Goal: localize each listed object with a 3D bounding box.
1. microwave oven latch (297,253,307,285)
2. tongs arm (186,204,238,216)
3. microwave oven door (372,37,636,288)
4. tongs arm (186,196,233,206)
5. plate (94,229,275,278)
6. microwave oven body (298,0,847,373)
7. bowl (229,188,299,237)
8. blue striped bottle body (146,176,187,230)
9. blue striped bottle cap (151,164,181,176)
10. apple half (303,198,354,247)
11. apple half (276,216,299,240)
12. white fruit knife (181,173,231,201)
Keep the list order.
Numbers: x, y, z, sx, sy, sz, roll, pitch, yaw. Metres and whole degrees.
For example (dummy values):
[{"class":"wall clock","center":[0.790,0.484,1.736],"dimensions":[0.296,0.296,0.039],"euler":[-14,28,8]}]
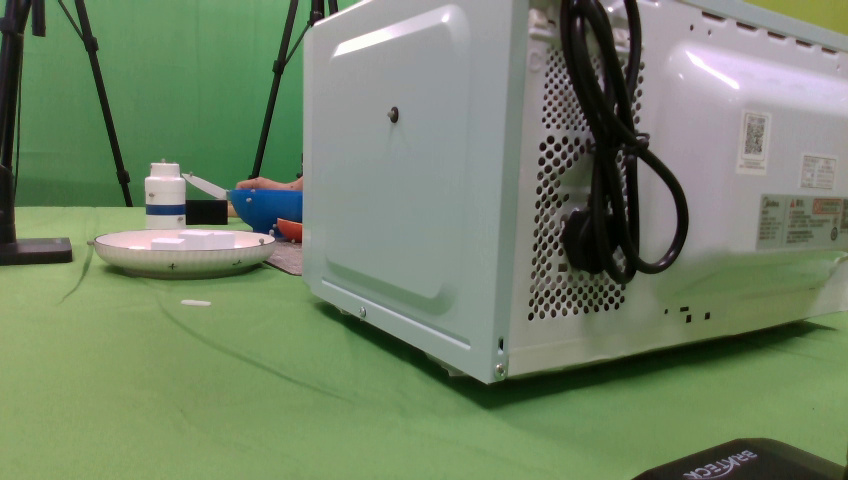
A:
[{"class":"microwave oven latch","center":[-0.082,0.027,0.582],"dimensions":[0.079,0.029,0.030],"euler":[-1,7,-32]},{"class":"tongs arm","center":[-0.396,-0.067,1.399],"dimensions":[0.389,0.028,0.028],"euler":[1,5,-15]},{"class":"microwave oven door","center":[0.110,-0.080,0.686],"dimensions":[0.358,0.243,0.039],"euler":[-2,9,-33]},{"class":"tongs arm","center":[-0.404,-0.081,1.479],"dimensions":[0.385,0.026,0.050],"euler":[3,8,-2]},{"class":"plate","center":[-0.291,0.016,0.749],"dimensions":[0.208,0.039,0.207],"euler":[2,7,0]},{"class":"microwave oven body","center":[0.151,-0.055,0.542],"dimensions":[0.444,0.260,0.324],"euler":[-2,7,-33]},{"class":"bowl","center":[-0.265,-0.048,1.066],"dimensions":[0.151,0.077,0.151],"euler":[3,8,0]},{"class":"blue striped bottle body","center":[-0.430,-0.065,1.010],"dimensions":[0.063,0.120,0.063],"euler":[2,7,0]},{"class":"blue striped bottle cap","center":[-0.428,-0.116,1.002],"dimensions":[0.044,0.020,0.044],"euler":[1,6,0]},{"class":"apple half","center":[-0.140,-0.026,0.938],"dimensions":[0.053,0.074,0.081],"euler":[9,15,38]},{"class":"apple half","center":[-0.202,-0.016,0.984],"dimensions":[0.081,0.033,0.081],"euler":[11,-1,1]},{"class":"white fruit knife","center":[-0.414,-0.094,1.272],"dimensions":[0.208,0.027,0.016],"euler":[29,0,-40]}]
